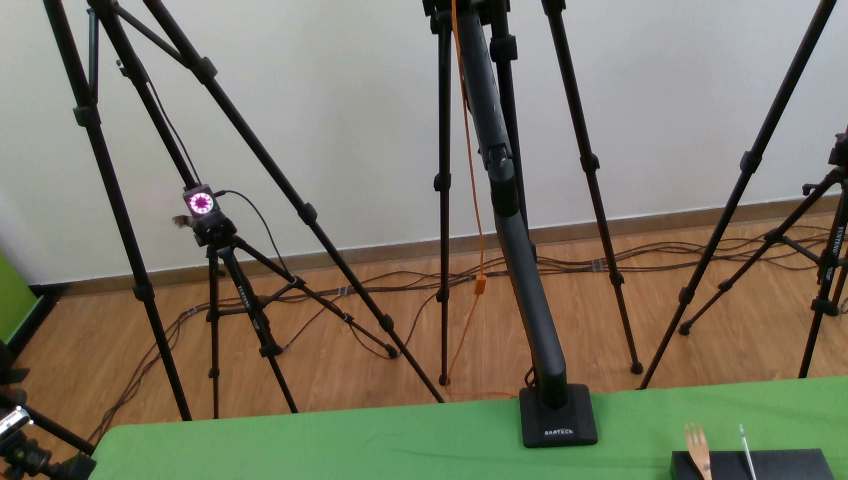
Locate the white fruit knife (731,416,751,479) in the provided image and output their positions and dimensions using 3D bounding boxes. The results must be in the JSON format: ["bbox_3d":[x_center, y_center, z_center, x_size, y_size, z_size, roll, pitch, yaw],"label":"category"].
[{"bbox_3d":[0.449,0.344,0.829,0.016,0.028,0.205,-9,55,14],"label":"white fruit knife"}]

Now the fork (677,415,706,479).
[{"bbox_3d":[0.392,0.347,0.842,0.028,0.019,0.205,-8,59,3],"label":"fork"}]
